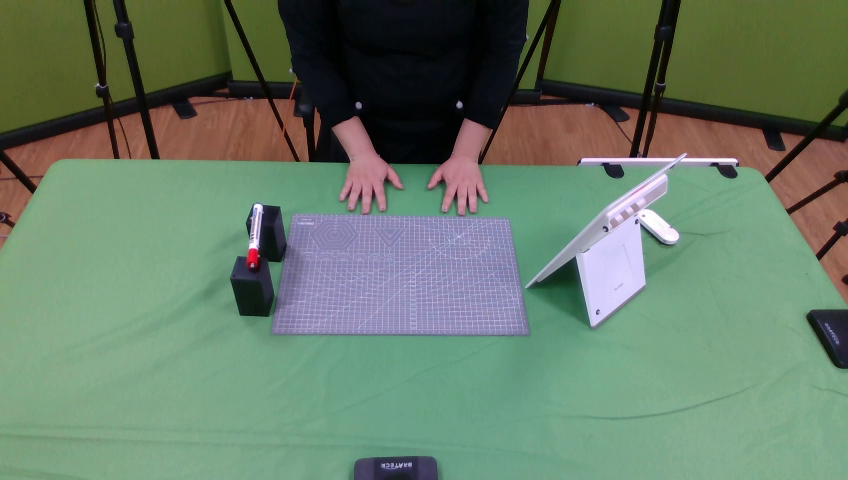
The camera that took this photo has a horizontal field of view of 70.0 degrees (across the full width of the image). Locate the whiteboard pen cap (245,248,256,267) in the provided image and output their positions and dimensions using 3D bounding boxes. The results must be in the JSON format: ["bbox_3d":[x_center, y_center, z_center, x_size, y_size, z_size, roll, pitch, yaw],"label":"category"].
[{"bbox_3d":[-0.289,0.029,1.010,0.017,0.017,0.032,-2,44,-6],"label":"whiteboard pen cap"}]

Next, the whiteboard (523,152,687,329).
[{"bbox_3d":[0.346,0.024,1.047,0.217,0.306,0.143,-30,74,-29],"label":"whiteboard"}]

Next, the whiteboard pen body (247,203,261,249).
[{"bbox_3d":[-0.295,-0.014,1.052,0.017,0.017,0.139,-2,45,-7],"label":"whiteboard pen body"}]

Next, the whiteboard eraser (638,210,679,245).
[{"bbox_3d":[0.485,-0.027,1.260,0.041,0.019,0.100,-21,50,-21],"label":"whiteboard eraser"}]
